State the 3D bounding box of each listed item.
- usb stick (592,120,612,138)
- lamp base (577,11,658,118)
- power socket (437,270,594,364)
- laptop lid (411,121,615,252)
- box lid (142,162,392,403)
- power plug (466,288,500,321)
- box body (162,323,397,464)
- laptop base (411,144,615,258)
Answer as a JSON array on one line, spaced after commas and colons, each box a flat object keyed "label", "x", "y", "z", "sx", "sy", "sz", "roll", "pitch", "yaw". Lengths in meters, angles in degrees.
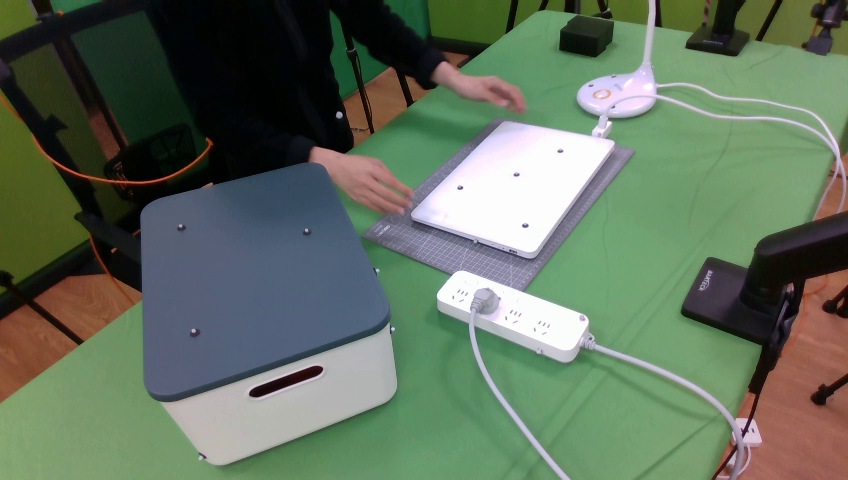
[{"label": "usb stick", "x": 0.335, "y": -0.203, "z": 1.149, "sx": 0.021, "sy": 0.027, "sz": 0.059, "roll": 25, "pitch": 53, "yaw": 26}, {"label": "lamp base", "x": 0.406, "y": -0.363, "z": 1.222, "sx": 0.180, "sy": 0.181, "sz": 0.159, "roll": -20, "pitch": 42, "yaw": -18}, {"label": "power socket", "x": 0.118, "y": 0.102, "z": 0.830, "sx": 0.225, "sy": 0.033, "sz": 0.072, "roll": 20, "pitch": 48, "yaw": 28}, {"label": "laptop lid", "x": 0.164, "y": -0.112, "z": 1.068, "sx": 0.240, "sy": 0.013, "sz": 0.357, "roll": 19, "pitch": 46, "yaw": 31}, {"label": "box lid", "x": -0.212, "y": 0.024, "z": 0.752, "sx": 0.264, "sy": 0.015, "sz": 0.368, "roll": -17, "pitch": 41, "yaw": -13}, {"label": "power plug", "x": 0.072, "y": 0.093, "z": 0.813, "sx": 0.035, "sy": 0.053, "sz": 0.073, "roll": 30, "pitch": 54, "yaw": 35}, {"label": "box body", "x": -0.205, "y": 0.080, "z": 0.802, "sx": 0.255, "sy": 0.161, "sz": 0.361, "roll": -18, "pitch": 41, "yaw": -13}, {"label": "laptop base", "x": 0.167, "y": -0.102, "z": 1.074, "sx": 0.234, "sy": 0.023, "sz": 0.355, "roll": 17, "pitch": 45, "yaw": 30}]
